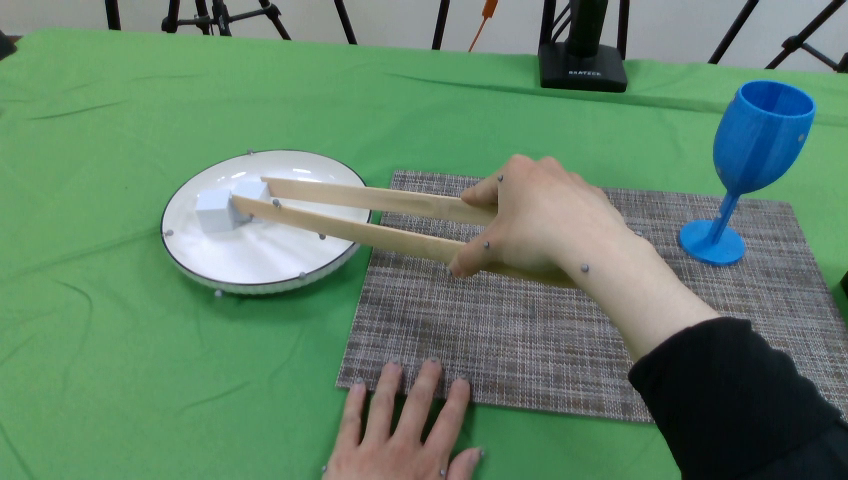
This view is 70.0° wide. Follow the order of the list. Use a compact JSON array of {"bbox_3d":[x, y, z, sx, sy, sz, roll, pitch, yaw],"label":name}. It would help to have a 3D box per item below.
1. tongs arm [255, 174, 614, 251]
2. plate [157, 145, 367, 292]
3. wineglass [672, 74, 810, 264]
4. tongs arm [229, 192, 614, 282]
[{"bbox_3d":[-0.018,-0.030,0.541,0.385,0.028,0.028,10,36,32],"label":"tongs arm"},{"bbox_3d":[-0.161,-0.023,0.624,0.209,0.038,0.207,1,44,0],"label":"plate"},{"bbox_3d":[0.292,-0.063,0.572,0.074,0.174,0.073,0,45,0],"label":"wineglass"},{"bbox_3d":[-0.031,-0.016,0.524,0.382,0.027,0.050,13,41,35],"label":"tongs arm"}]
